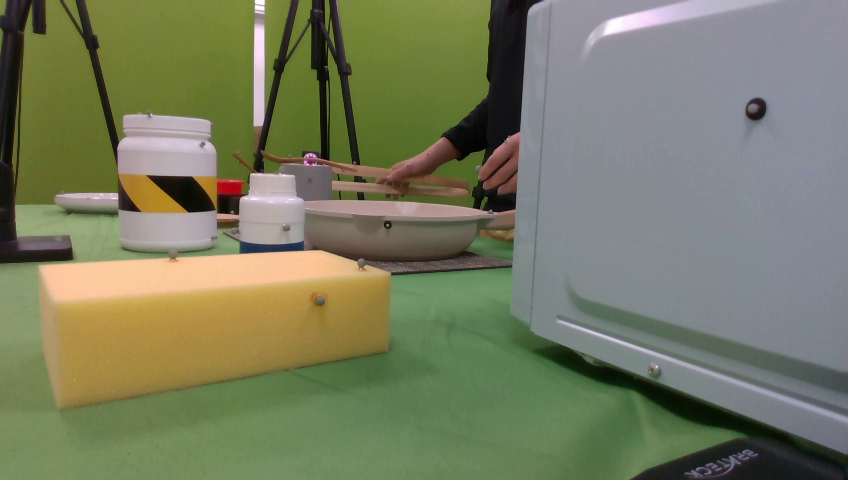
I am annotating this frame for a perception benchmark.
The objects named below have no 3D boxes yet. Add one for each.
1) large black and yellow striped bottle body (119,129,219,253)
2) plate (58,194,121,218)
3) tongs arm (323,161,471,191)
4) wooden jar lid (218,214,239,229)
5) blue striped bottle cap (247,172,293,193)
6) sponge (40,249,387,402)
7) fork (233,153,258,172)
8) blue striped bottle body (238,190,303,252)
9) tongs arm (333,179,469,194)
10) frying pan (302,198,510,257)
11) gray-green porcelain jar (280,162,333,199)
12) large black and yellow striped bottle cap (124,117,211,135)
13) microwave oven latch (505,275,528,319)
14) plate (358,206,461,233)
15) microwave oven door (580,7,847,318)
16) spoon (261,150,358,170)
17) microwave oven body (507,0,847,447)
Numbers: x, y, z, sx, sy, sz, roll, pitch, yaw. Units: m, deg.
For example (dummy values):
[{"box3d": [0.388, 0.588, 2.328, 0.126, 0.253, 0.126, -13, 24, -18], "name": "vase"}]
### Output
[{"box3d": [-0.367, -0.080, 0.876, 0.131, 0.184, 0.130, 1, 7, 0], "name": "large black and yellow striped bottle body"}, {"box3d": [-0.671, -0.074, 1.310, 0.209, 0.038, 0.209, 2, 8, 0], "name": "plate"}, {"box3d": [-0.052, -0.147, 1.401, 0.387, 0.026, 0.050, 2, -18, -26], "name": "tongs arm"}, {"box3d": [-0.404, -0.037, 1.169, 0.108, 0.020, 0.108, 3, 7, 0], "name": "wooden jar lid"}, {"box3d": [-0.152, -0.057, 0.598, 0.044, 0.020, 0.044, 3, 6, 0], "name": "blue striped bottle cap"}, {"box3d": [-0.142, 0.047, 0.419, 0.208, 0.061, 0.117, -3, 8, -36], "name": "sponge"}, {"box3d": [-0.396, -0.143, 1.486, 0.028, 0.018, 0.208, 20, -26, 45], "name": "fork"}, {"box3d": [-0.153, -0.007, 0.606, 0.063, 0.120, 0.063, 2, 7, 0], "name": "blue striped bottle body"}, {"box3d": [-0.077, -0.130, 1.455, 0.389, 0.027, 0.028, 0, -21, -19], "name": "tongs arm"}, {"box3d": [0.050, -0.035, 0.915, 0.487, 0.102, 0.307, -5, 7, 10], "name": "frying pan"}, {"box3d": [-0.238, -0.092, 1.221, 0.106, 0.126, 0.106, 2, 7, 0], "name": "gray-green porcelain jar"}, {"box3d": [-0.366, -0.163, 0.866, 0.115, 0.019, 0.115, 3, 7, 0], "name": "large black and yellow striped bottle cap"}, {"box3d": [0.100, 0.041, 0.471, 0.079, 0.029, 0.030, -1, 7, -28], "name": "microwave oven latch"}, {"box3d": [-0.030, -0.041, 1.213, 0.208, 0.039, 0.207, 3, 7, 0], "name": "plate"}, {"box3d": [0.295, -0.067, 0.570, 0.358, 0.243, 0.039, -3, 9, -31], "name": "microwave oven door"}, {"box3d": [-0.229, -0.161, 1.222, 0.194, 0.021, 0.041, 4, 3, -16], "name": "spoon"}, {"box3d": [0.331, -0.042, 0.425, 0.444, 0.260, 0.324, -2, 8, -31], "name": "microwave oven body"}]
